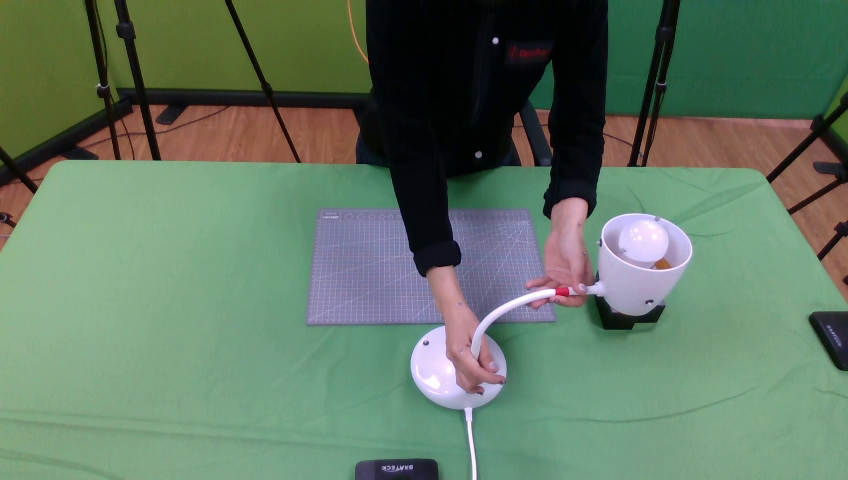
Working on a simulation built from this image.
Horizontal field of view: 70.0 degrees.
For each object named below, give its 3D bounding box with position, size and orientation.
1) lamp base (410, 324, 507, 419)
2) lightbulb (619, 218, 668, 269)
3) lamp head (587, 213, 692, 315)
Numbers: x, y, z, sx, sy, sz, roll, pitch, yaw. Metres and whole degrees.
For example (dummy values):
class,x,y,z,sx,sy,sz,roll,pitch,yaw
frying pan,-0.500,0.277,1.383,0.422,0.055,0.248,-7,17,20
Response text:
class,x,y,z,sx,sy,sz,roll,pitch,yaw
lamp base,0.064,0.162,0.939,0.161,0.181,0.178,-9,50,-12
lightbulb,0.284,0.021,0.794,0.059,0.108,0.059,-2,37,2
lamp head,0.278,0.043,0.806,0.112,0.123,0.111,4,41,-3
